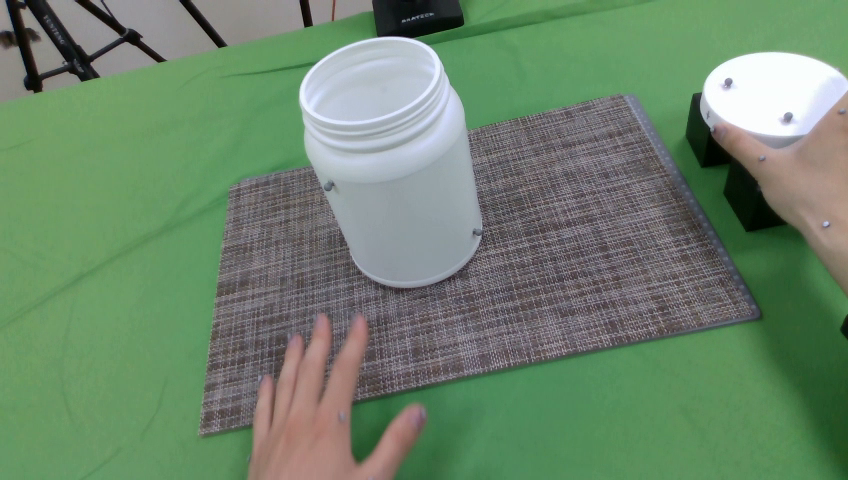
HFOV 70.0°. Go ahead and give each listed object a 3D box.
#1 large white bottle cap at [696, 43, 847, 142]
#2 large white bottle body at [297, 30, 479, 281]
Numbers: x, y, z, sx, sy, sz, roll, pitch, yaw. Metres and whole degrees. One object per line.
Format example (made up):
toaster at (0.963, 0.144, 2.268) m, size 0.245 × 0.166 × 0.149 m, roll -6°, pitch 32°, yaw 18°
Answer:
large white bottle cap at (0.292, -0.126, 0.510) m, size 0.115 × 0.018 × 0.113 m, roll -6°, pitch 50°, yaw 8°
large white bottle body at (-0.026, -0.067, 0.513) m, size 0.130 × 0.186 × 0.129 m, roll -6°, pitch 50°, yaw 8°
